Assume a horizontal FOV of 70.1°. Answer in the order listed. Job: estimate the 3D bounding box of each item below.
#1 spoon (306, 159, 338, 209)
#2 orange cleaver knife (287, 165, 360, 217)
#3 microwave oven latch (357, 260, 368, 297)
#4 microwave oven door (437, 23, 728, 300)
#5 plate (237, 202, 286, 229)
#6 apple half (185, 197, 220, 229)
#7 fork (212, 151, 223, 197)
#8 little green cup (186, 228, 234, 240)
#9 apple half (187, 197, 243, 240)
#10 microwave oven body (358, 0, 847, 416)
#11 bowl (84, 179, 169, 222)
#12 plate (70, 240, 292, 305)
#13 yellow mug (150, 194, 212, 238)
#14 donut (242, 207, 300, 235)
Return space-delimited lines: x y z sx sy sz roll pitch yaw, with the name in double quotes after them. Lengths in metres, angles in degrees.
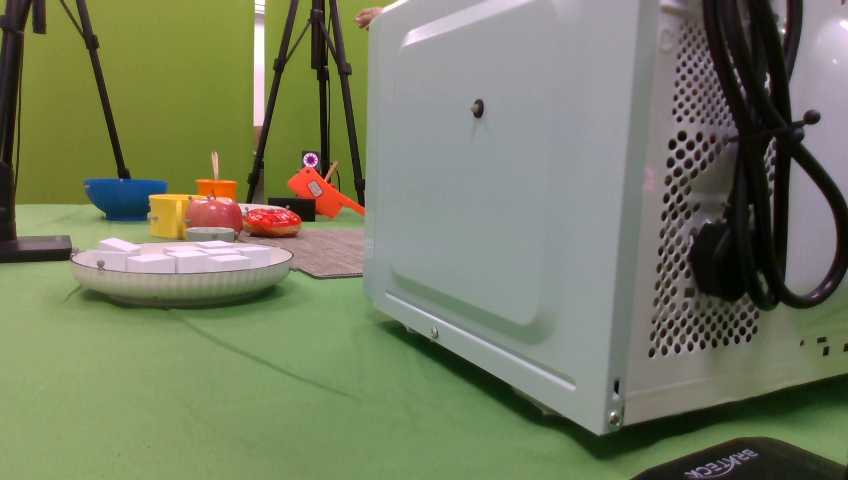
-0.257 -0.147 1.567 0.041 0.022 0.193 1 51 20 "spoon"
-0.210 -0.093 1.382 0.212 0.077 0.012 33 0 -15 "orange cleaver knife"
-0.019 0.033 0.531 0.079 0.029 0.030 -1 7 -27 "microwave oven latch"
0.180 -0.072 0.621 0.358 0.243 0.039 -2 8 -29 "microwave oven door"
-0.376 -0.048 1.183 0.209 0.038 0.209 3 8 0 "plate"
-0.338 -0.031 0.927 0.032 0.081 0.081 12 12 31 "apple half"
-0.494 -0.143 1.442 0.028 0.018 0.206 -2 52 -20 "fork"
-0.284 0.005 0.805 0.061 0.038 0.061 2 8 0 "little green cup"
-0.305 -0.026 0.907 0.053 0.074 0.081 12 8 31 "apple half"
0.211 -0.047 0.475 0.444 0.260 0.324 -1 8 -28 "microwave oven body"
-0.584 -0.078 1.194 0.151 0.077 0.151 3 8 0 "bowl"
-0.242 0.031 0.618 0.208 0.039 0.207 2 8 0 "plate"
-0.401 -0.039 1.003 0.100 0.064 0.130 0 9 -20 "yellow mug"
-0.263 -0.032 1.039 0.099 0.048 0.099 4 9 0 "donut"
